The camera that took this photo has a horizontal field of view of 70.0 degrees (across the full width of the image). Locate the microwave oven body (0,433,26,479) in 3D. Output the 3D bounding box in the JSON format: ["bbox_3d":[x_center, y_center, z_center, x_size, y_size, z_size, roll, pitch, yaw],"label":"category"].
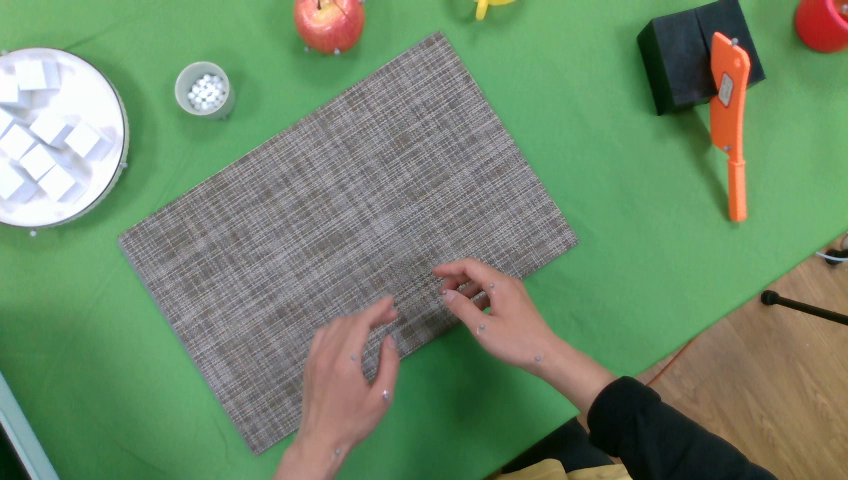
[{"bbox_3d":[-0.558,0.323,0.566,0.326,0.260,0.441,-30,88,-2],"label":"microwave oven body"}]

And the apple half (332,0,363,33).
[{"bbox_3d":[-0.091,-0.274,0.686,0.033,0.081,0.081,-42,88,3],"label":"apple half"}]

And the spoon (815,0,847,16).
[{"bbox_3d":[0.469,-0.234,0.651,0.041,0.022,0.192,1,43,2],"label":"spoon"}]

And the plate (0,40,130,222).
[{"bbox_3d":[-0.439,-0.122,0.698,0.208,0.039,0.207,0,88,0],"label":"plate"}]

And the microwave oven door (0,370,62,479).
[{"bbox_3d":[-0.410,0.287,0.562,0.039,0.244,0.355,-31,88,-2],"label":"microwave oven door"}]

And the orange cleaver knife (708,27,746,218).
[{"bbox_3d":[0.336,-0.127,0.678,0.012,0.076,0.213,-13,117,3],"label":"orange cleaver knife"}]

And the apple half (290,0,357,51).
[{"bbox_3d":[-0.120,-0.248,0.687,0.053,0.074,0.081,-42,92,3],"label":"apple half"}]

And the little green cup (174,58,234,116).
[{"bbox_3d":[-0.251,-0.173,0.700,0.061,0.038,0.061,0,87,1],"label":"little green cup"}]

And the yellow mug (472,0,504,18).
[{"bbox_3d":[0.076,-0.320,0.692,0.100,0.064,0.130,15,89,1],"label":"yellow mug"}]
